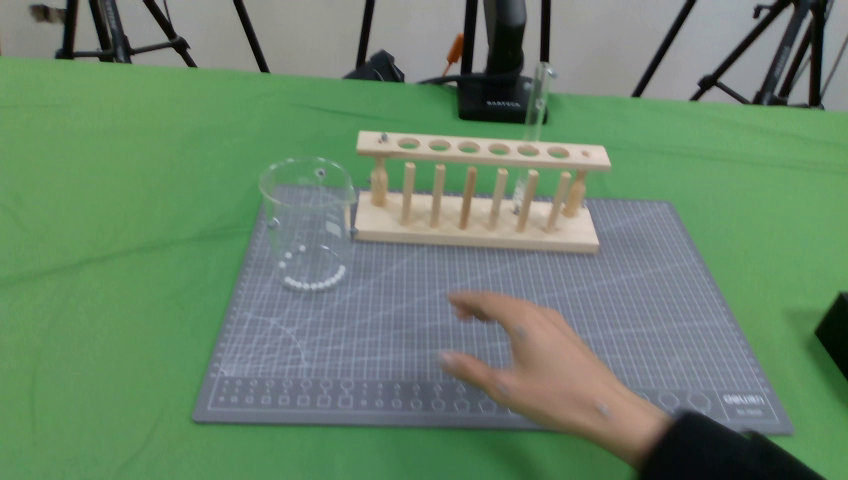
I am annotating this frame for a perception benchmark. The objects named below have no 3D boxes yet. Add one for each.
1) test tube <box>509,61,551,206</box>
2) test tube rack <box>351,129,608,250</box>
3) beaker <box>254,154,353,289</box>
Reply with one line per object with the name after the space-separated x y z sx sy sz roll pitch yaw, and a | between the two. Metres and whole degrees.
0.101 -0.098 0.584 0.017 0.151 0.017 4 36 -2 | test tube
0.052 -0.049 0.599 0.242 0.086 0.066 3 40 -2 | test tube rack
-0.100 -0.013 0.528 0.083 0.101 0.073 16 42 12 | beaker
